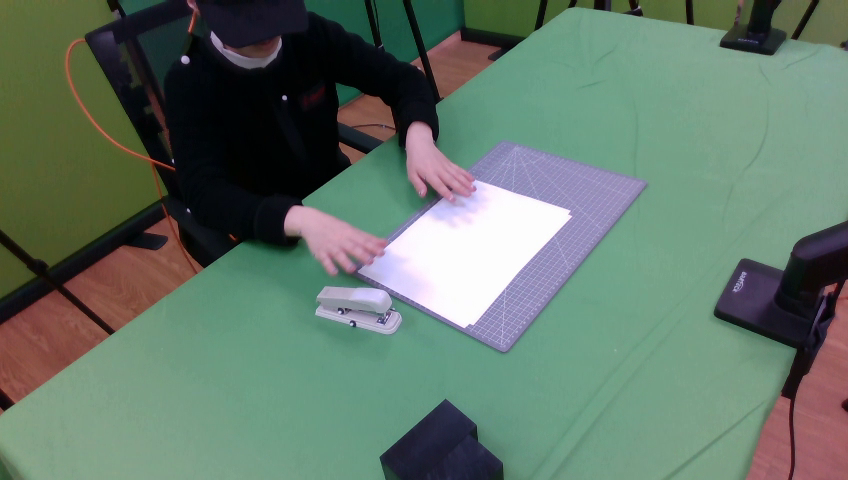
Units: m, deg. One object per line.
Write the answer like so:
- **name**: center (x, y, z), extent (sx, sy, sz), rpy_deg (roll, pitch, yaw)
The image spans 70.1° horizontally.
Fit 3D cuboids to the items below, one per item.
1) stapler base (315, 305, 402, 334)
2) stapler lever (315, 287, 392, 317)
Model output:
- **stapler base**: center (-0.096, 0.102, 0.868), extent (0.130, 0.024, 0.041), rpy_deg (10, 41, 22)
- **stapler lever**: center (-0.101, 0.082, 0.852), extent (0.117, 0.040, 0.027), rpy_deg (9, 41, 22)
